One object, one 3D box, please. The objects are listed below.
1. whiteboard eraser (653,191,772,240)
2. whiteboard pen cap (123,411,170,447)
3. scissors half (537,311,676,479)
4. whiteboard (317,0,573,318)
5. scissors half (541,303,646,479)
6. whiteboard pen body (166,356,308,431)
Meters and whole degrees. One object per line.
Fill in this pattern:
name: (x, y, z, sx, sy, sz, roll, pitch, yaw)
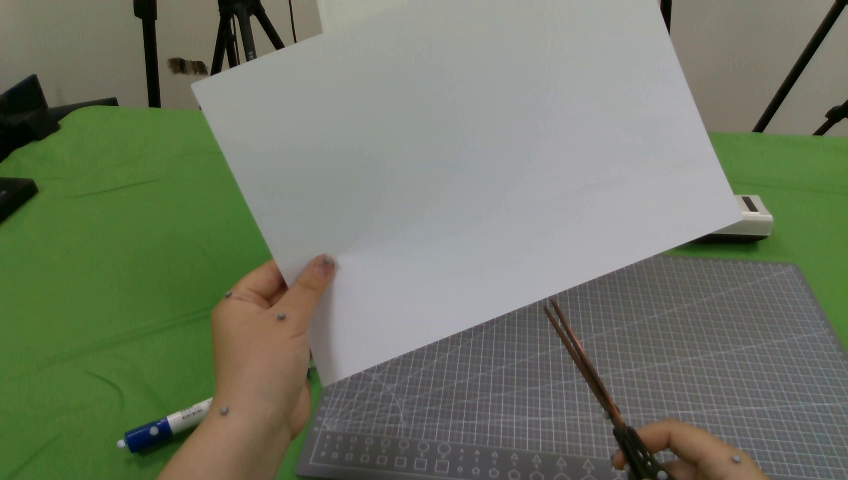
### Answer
whiteboard eraser: (0.317, -0.027, 0.671, 0.112, 0.042, 0.055, 2, 39, 3)
whiteboard pen cap: (-0.211, 0.143, 0.464, 0.033, 0.018, 0.018, -21, 41, -26)
scissors half: (0.113, 0.107, 0.346, 0.013, 0.040, 0.173, -32, 55, -2)
whiteboard: (0.013, -0.110, 0.619, 0.218, 0.307, 0.142, -14, 19, -16)
scissors half: (0.116, 0.114, 0.369, 0.013, 0.175, 0.040, -31, 2, -7)
whiteboard pen body: (-0.161, 0.127, 0.489, 0.141, 0.017, 0.017, -20, 41, -26)
